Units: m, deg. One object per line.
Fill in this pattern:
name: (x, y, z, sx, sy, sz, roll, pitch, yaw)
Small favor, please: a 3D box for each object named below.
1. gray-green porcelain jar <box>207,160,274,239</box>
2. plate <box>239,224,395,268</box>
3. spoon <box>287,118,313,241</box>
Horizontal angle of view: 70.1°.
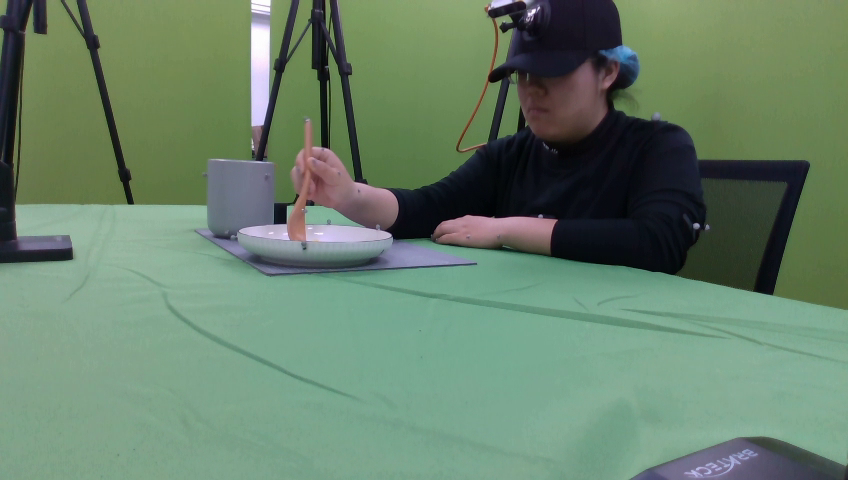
gray-green porcelain jar: (-0.304, -0.068, 1.003, 0.106, 0.126, 0.106, 3, 7, 0)
plate: (-0.144, 0.007, 0.823, 0.208, 0.039, 0.207, 3, 7, 0)
spoon: (-0.168, -0.081, 0.847, 0.021, 0.193, 0.042, 0, -14, 26)
